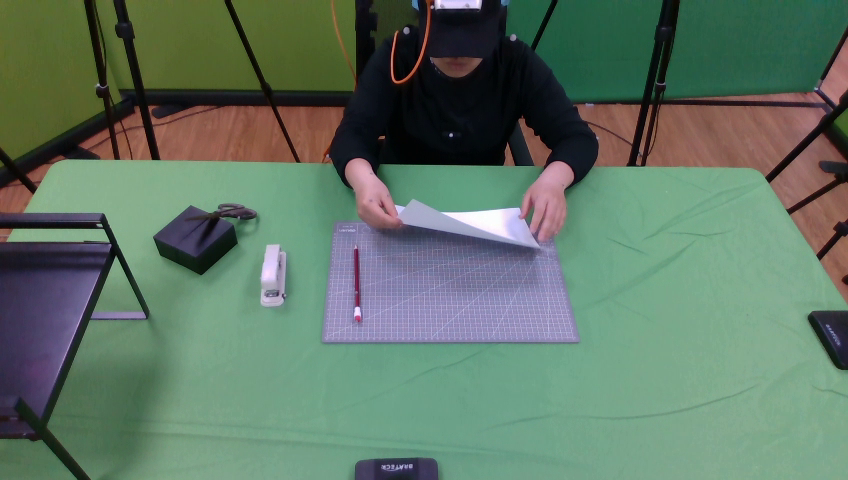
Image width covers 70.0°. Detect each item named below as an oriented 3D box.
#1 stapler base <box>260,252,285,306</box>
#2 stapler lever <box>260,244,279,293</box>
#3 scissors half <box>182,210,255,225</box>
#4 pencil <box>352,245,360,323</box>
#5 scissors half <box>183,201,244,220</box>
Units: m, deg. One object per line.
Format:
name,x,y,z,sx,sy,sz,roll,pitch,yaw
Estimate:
stapler base,-0.279,0.064,1.113,0.041,0.024,0.129,-1,44,-9
stapler lever,-0.279,0.045,1.096,0.027,0.040,0.117,-1,44,-9
scissors half,-0.389,-0.042,1.158,0.040,0.013,0.175,41,21,22
pencil,-0.127,0.076,1.120,0.012,0.012,0.192,-2,44,-7
scissors half,-0.405,-0.054,1.163,0.040,0.013,0.175,29,18,7
